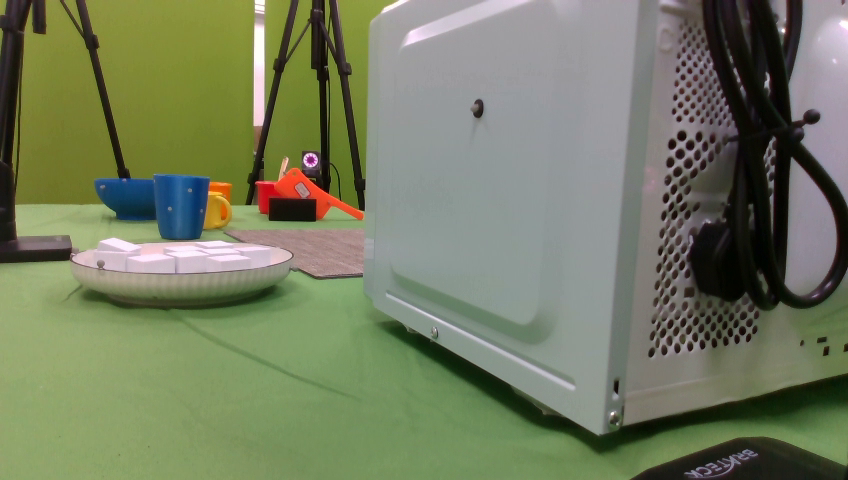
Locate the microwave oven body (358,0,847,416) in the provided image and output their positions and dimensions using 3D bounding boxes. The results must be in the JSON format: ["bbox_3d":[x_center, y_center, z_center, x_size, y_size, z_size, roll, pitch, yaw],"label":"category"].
[{"bbox_3d":[0.211,-0.047,0.474,0.444,0.260,0.324,-1,7,-28],"label":"microwave oven body"}]

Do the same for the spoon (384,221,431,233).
[{"bbox_3d":[-0.024,-0.029,1.188,0.041,0.021,0.194,-12,0,23],"label":"spoon"}]

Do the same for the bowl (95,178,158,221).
[{"bbox_3d":[-0.576,-0.081,1.217,0.151,0.077,0.151,3,8,0],"label":"bowl"}]

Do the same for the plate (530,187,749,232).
[{"bbox_3d":[0.212,-0.034,0.613,0.209,0.038,0.209,1,6,0],"label":"plate"}]

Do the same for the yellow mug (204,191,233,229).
[{"bbox_3d":[-0.415,-0.057,1.132,0.130,0.064,0.100,6,8,16],"label":"yellow mug"}]

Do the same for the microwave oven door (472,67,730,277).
[{"bbox_3d":[0.213,-0.097,0.820,0.039,0.243,0.354,-6,11,-44],"label":"microwave oven door"}]

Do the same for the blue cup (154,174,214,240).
[{"bbox_3d":[-0.391,-0.053,0.978,0.093,0.100,0.092,3,6,0],"label":"blue cup"}]

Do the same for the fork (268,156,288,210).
[{"bbox_3d":[-0.360,-0.144,1.508,0.028,0.018,0.207,1,49,0],"label":"fork"}]

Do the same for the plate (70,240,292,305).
[{"bbox_3d":[-0.242,0.031,0.618,0.208,0.039,0.207,2,8,0],"label":"plate"}]

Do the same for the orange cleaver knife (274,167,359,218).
[{"bbox_3d":[-0.238,-0.091,1.381,0.212,0.077,0.012,31,0,-19],"label":"orange cleaver knife"}]

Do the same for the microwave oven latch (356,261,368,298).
[{"bbox_3d":[-0.019,0.033,0.529,0.079,0.029,0.030,0,7,-25],"label":"microwave oven latch"}]

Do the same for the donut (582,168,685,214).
[{"bbox_3d":[0.208,-0.049,0.608,0.099,0.048,0.099,-1,4,0],"label":"donut"}]

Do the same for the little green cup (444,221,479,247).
[{"bbox_3d":[0.064,-0.011,1.035,0.061,0.038,0.061,1,10,0],"label":"little green cup"}]
